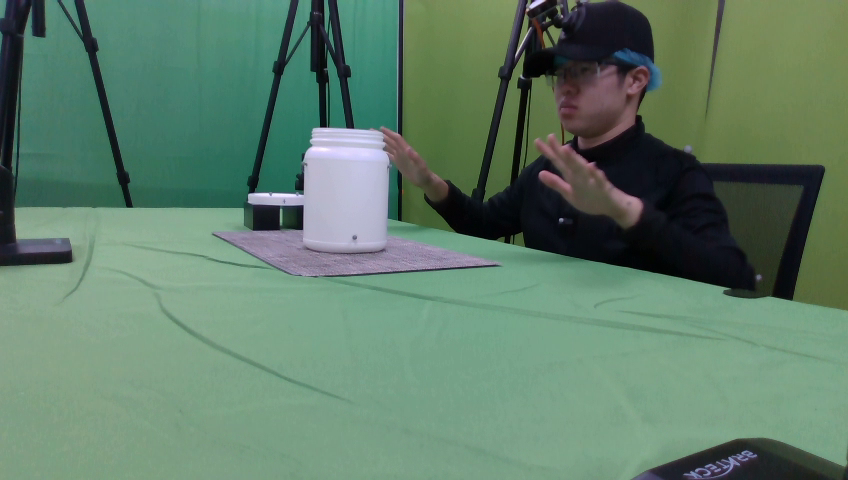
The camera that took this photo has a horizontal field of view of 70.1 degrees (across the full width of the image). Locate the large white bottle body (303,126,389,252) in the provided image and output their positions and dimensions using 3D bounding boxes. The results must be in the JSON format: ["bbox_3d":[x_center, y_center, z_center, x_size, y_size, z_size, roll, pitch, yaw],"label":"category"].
[{"bbox_3d":[-0.120,-0.079,0.936,0.131,0.184,0.130,2,7,0],"label":"large white bottle body"}]

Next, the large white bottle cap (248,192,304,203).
[{"bbox_3d":[-0.294,-0.084,1.213,0.115,0.018,0.115,2,7,0],"label":"large white bottle cap"}]
